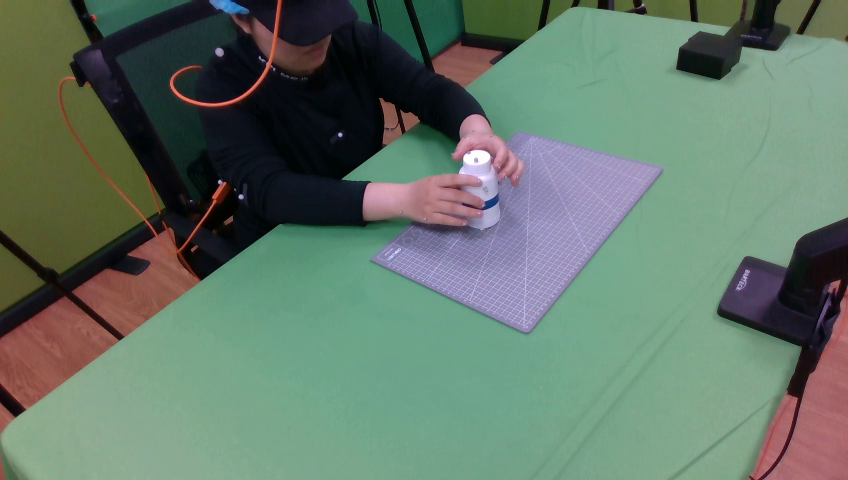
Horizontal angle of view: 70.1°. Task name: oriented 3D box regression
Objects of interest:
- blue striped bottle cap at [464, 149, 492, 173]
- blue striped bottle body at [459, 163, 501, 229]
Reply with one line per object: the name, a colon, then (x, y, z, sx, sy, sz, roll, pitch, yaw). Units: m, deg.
blue striped bottle cap: (0.085, -0.124, 0.950, 0.044, 0.021, 0.044, -8, 43, 8)
blue striped bottle body: (0.091, -0.083, 0.982, 0.063, 0.121, 0.063, -6, 40, 5)
